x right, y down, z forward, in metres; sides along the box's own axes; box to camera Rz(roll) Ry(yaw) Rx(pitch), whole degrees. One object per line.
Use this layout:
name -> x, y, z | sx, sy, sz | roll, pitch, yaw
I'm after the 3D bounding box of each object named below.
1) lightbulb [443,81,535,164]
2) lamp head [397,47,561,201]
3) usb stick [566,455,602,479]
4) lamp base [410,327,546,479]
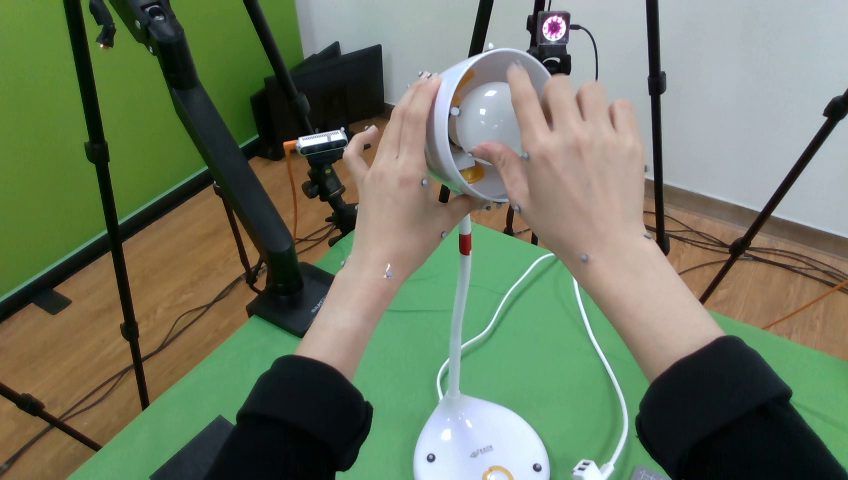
lightbulb -> 0.040, -0.089, 0.466 | 0.059, 0.060, 0.107 | -24, 17, -24
lamp head -> 0.033, -0.088, 0.493 | 0.112, 0.113, 0.122 | -26, 15, -26
usb stick -> 0.185, 0.274, 0.680 | 0.027, 0.059, 0.021 | -30, 5, -34
lamp base -> 0.053, 0.194, 0.675 | 0.161, 0.182, 0.177 | -25, 43, -25
